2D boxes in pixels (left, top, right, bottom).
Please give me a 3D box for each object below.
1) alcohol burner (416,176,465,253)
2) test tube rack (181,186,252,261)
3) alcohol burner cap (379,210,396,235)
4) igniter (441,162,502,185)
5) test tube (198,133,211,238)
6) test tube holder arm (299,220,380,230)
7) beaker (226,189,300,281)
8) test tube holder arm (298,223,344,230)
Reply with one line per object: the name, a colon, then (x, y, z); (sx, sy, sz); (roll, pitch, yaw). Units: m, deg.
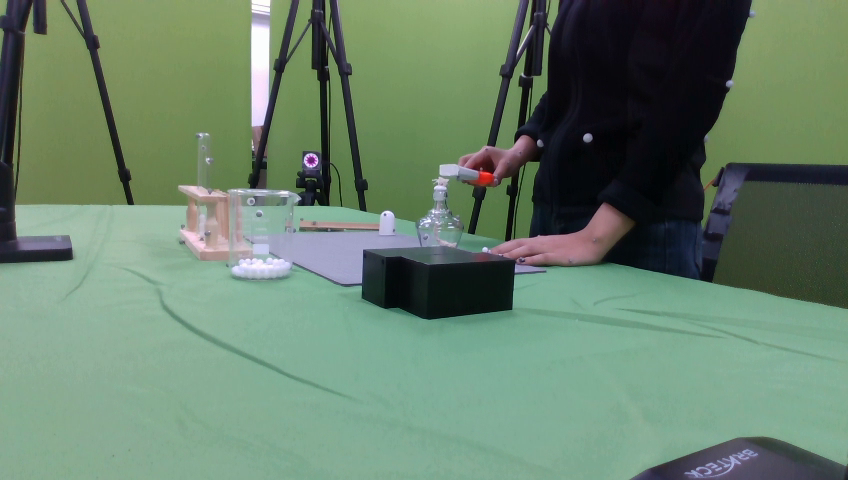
alcohol burner: (0.025, -0.040, 0.935); (0.078, 0.119, 0.078); (1, 6, 0)
test tube rack: (-0.312, -0.031, 0.893); (0.067, 0.085, 0.241); (-1, 8, -27)
alcohol burner cap: (-0.067, -0.033, 1.129); (0.034, 0.048, 0.034); (1, 7, 0)
igniter: (0.089, -0.116, 1.070); (0.057, 0.025, 0.277); (3, 3, 21)
test tube: (-0.316, -0.078, 0.871); (0.017, 0.150, 0.017); (2, 3, 0)
test tube holder arm: (-0.153, -0.028, 1.174); (0.179, 0.015, 0.013); (1, -27, -21)
beaker: (-0.184, -0.007, 0.694); (0.084, 0.100, 0.073); (-1, 8, -29)
test tube holder arm: (-0.197, -0.026, 1.163); (0.088, 0.015, 0.010); (0, -27, -20)
